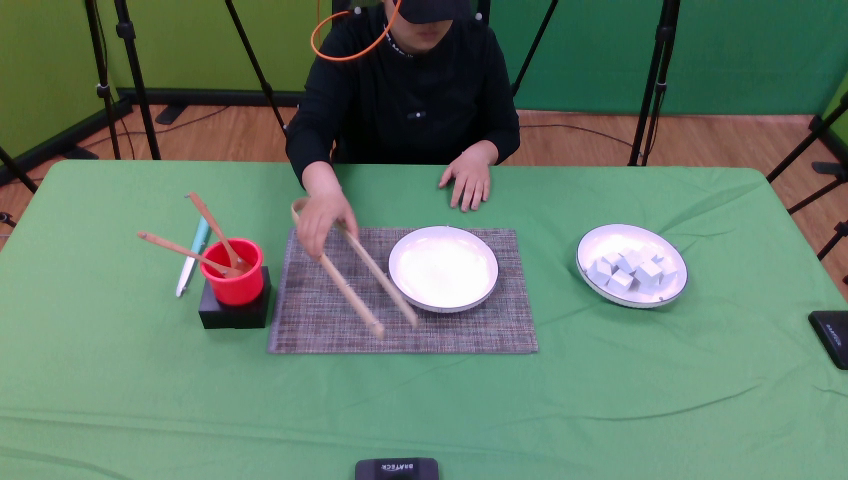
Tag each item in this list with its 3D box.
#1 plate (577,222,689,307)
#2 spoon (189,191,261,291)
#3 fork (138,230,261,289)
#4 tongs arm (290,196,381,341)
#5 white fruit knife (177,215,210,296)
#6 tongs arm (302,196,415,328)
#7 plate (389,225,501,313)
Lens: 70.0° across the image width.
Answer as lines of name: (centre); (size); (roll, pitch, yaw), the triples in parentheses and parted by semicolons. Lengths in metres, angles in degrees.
plate: (0.396, 0.050, 1.165); (0.209, 0.038, 0.208); (2, 47, -2)
spoon: (-0.333, 0.001, 1.011); (0.041, 0.194, 0.021); (-34, 15, -25)
fork: (-0.359, 0.032, 0.981); (0.208, 0.018, 0.028); (31, 60, -30)
tongs arm: (-0.151, 0.034, 1.032); (0.051, 0.026, 0.382); (-21, 44, -26)
white fruit knife: (-0.435, 0.025, 1.148); (0.027, 0.016, 0.206); (-17, 45, 18)
tongs arm: (-0.120, 0.024, 1.047); (0.028, 0.028, 0.385); (-24, 45, -23)
plate: (0.038, 0.057, 1.129); (0.208, 0.039, 0.206); (2, 46, -2)
